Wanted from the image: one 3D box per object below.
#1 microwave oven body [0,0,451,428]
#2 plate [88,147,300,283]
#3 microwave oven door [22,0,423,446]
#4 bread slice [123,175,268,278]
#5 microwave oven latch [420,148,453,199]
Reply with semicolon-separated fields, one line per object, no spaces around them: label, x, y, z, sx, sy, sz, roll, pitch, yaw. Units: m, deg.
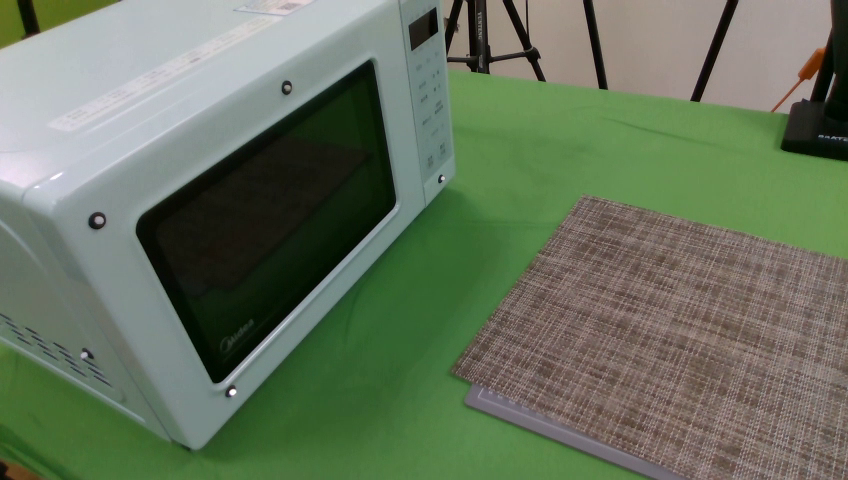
microwave oven body;-0.220;-0.089;0.613;0.324;0.263;0.440;16;45;26
plate;-0.227;-0.026;0.619;0.209;0.038;0.207;-5;39;4
microwave oven door;-0.116;-0.033;0.518;0.039;0.246;0.354;16;44;27
bread slice;-0.230;-0.024;0.624;0.104;0.019;0.131;25;52;32
microwave oven latch;0.006;-0.081;0.722;0.030;0.030;0.079;17;45;27
